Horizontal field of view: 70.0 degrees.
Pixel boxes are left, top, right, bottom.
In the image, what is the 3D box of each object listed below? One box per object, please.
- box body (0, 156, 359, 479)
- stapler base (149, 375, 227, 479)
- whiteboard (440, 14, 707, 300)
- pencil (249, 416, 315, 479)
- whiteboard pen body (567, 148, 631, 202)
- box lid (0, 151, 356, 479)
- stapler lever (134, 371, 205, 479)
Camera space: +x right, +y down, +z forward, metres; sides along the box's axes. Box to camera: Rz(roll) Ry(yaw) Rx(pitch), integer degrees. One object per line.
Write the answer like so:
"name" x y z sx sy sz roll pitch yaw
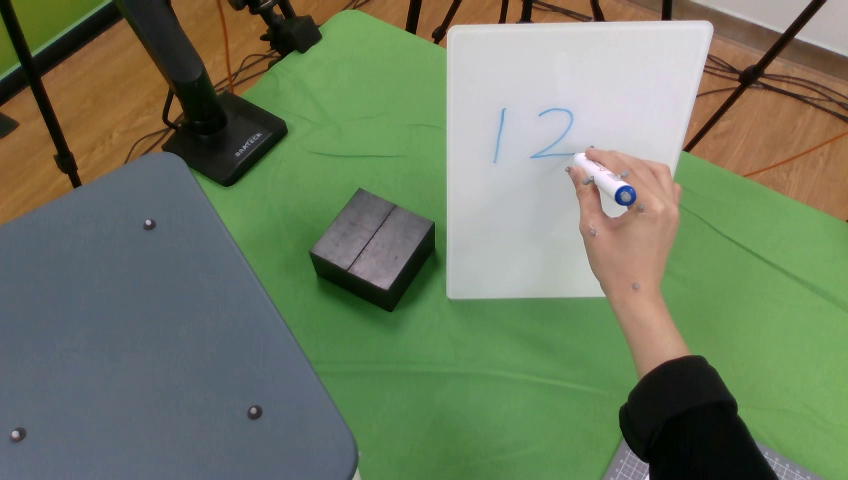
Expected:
"box body" -0.247 0.136 0.536 0.254 0.162 0.360 -31 63 -17
"stapler base" -0.230 0.188 0.573 0.041 0.025 0.129 2 60 24
"whiteboard" 0.125 -0.098 0.631 0.217 0.308 0.142 -1 39 1
"pencil" -0.169 0.234 0.554 0.012 0.012 0.193 32 53 20
"whiteboard pen body" 0.137 -0.058 0.494 0.017 0.017 0.139 -4 22 -1
"box lid" -0.249 0.096 0.474 0.263 0.015 0.368 -31 64 -17
"stapler lever" -0.237 0.177 0.554 0.026 0.040 0.117 2 58 24
